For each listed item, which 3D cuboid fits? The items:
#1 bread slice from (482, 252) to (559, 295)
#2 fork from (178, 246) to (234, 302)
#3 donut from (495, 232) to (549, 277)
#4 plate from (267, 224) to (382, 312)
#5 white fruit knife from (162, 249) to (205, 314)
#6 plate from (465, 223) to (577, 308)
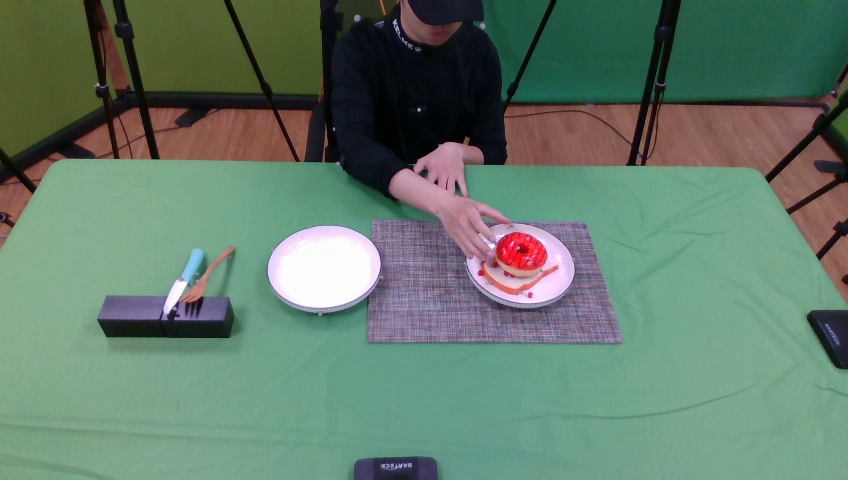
[{"bbox_3d":[0.177,0.050,1.148,0.131,0.019,0.104,-32,55,-31],"label":"bread slice"},{"bbox_3d":[-0.380,0.057,1.075,0.028,0.019,0.206,3,29,5],"label":"fork"},{"bbox_3d":[0.181,0.026,1.119,0.099,0.048,0.098,2,46,-2],"label":"donut"},{"bbox_3d":[-0.182,0.055,1.120,0.208,0.039,0.206,2,46,-2],"label":"plate"},{"bbox_3d":[-0.420,0.070,1.063,0.027,0.016,0.206,-2,29,-2],"label":"white fruit knife"},{"bbox_3d":[0.180,0.051,1.144,0.209,0.038,0.208,2,45,-2],"label":"plate"}]
